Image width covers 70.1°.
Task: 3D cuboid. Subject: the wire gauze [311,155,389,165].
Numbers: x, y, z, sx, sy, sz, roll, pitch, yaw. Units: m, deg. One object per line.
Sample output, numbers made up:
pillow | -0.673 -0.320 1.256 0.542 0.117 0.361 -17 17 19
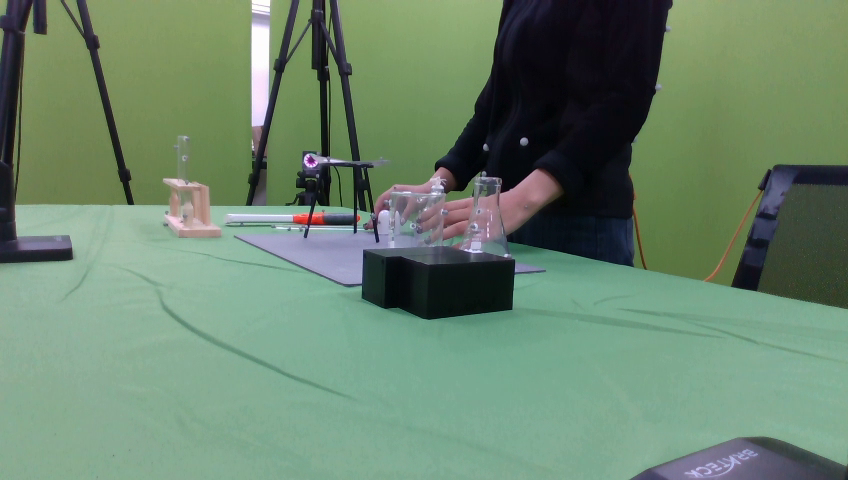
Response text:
wire gauze | -0.128 -0.137 1.042 0.122 0.011 0.124 1 8 -18

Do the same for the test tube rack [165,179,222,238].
test tube rack | -0.423 -0.062 1.098 0.067 0.085 0.241 -2 9 -28

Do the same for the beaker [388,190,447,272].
beaker | -0.010 -0.013 0.771 0.074 0.100 0.084 3 7 4

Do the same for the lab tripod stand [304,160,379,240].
lab tripod stand | -0.131 -0.071 1.046 0.148 0.131 0.148 4 7 0

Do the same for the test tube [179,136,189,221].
test tube | -0.425 -0.108 1.070 0.017 0.150 0.017 4 9 0

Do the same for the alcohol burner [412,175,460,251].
alcohol burner | 0.020 -0.043 0.959 0.078 0.119 0.078 4 9 0

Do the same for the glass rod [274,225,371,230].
glass rod | -0.193 -0.024 1.176 0.201 0.008 0.008 1 7 -31

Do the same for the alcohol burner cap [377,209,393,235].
alcohol burner cap | -0.075 -0.035 1.145 0.034 0.048 0.034 2 8 0

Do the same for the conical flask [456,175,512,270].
conical flask | 0.082 -0.025 0.801 0.075 0.122 0.075 2 7 0

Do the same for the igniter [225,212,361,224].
igniter | -0.262 -0.044 1.240 0.278 0.025 0.057 -2 -1 -31
